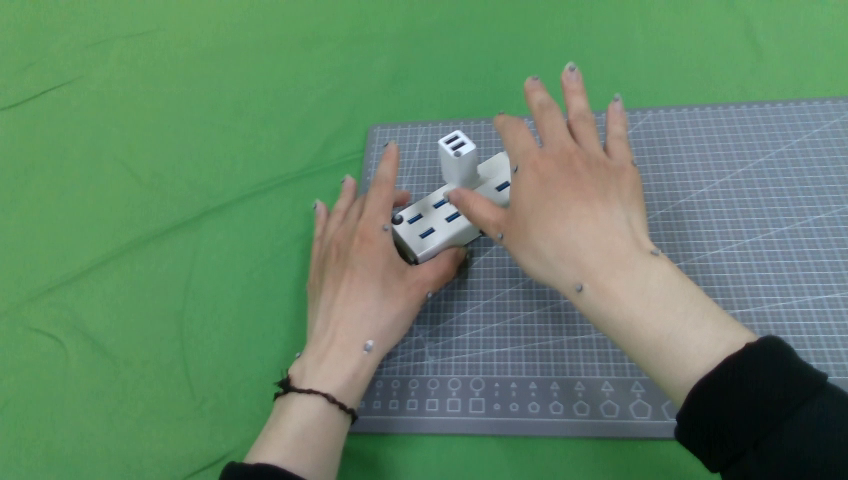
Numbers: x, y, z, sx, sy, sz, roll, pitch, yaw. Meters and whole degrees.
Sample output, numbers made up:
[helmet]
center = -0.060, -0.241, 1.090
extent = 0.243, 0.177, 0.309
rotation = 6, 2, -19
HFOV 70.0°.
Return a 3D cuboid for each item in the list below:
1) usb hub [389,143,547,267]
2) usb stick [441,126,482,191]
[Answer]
[usb hub]
center = 0.036, -0.031, 0.495
extent = 0.125, 0.025, 0.049
rotation = -32, 50, -12
[usb stick]
center = 0.031, -0.060, 0.482
extent = 0.021, 0.060, 0.027
rotation = -33, 55, -13
